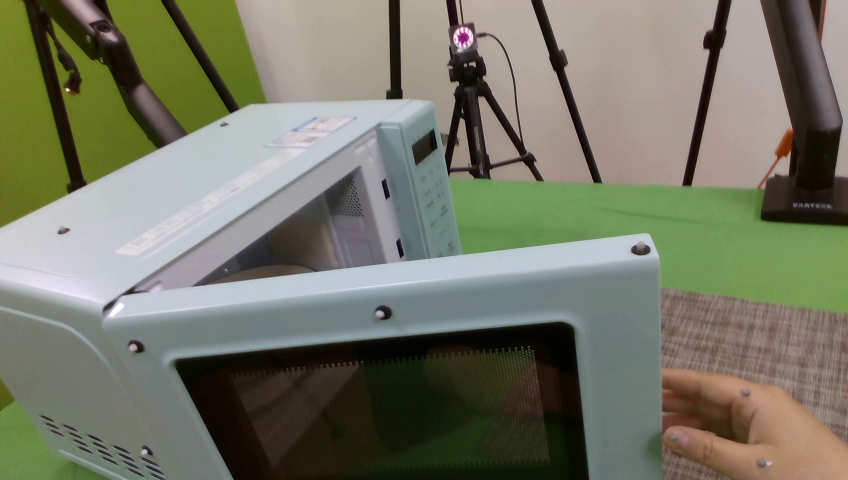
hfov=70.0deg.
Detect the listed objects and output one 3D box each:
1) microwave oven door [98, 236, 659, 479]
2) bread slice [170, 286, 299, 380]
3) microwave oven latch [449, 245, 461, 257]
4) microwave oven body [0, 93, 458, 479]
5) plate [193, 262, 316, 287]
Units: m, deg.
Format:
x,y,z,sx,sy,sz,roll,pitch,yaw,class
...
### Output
x,y,z,sx,sy,sz,roll,pitch,yaw,class
-0.020,0.125,0.434,0.355,0.246,0.039,-7,29,10,microwave oven door
-0.211,0.097,0.690,0.104,0.019,0.131,13,40,37,bread slice
0.022,0.037,0.793,0.030,0.030,0.079,7,35,31,microwave oven latch
-0.208,0.032,0.691,0.324,0.262,0.440,6,34,30,microwave oven body
-0.209,0.095,0.687,0.209,0.038,0.207,-10,28,6,plate
